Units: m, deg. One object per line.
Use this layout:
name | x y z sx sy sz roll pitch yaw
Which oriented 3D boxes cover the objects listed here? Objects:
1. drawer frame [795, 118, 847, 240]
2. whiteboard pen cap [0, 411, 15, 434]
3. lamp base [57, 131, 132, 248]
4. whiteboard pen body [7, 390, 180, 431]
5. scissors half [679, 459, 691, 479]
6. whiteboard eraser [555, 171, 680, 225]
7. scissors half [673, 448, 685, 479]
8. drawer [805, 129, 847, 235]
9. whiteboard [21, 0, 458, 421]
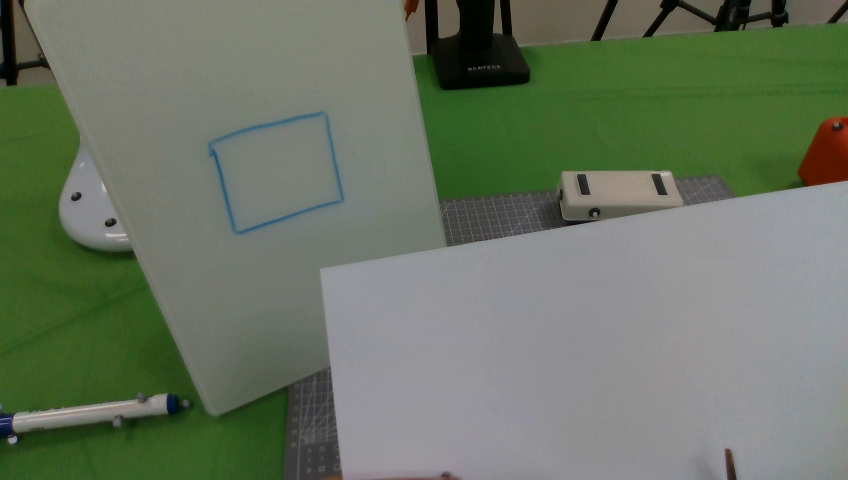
drawer frame | 0.498 -0.027 0.555 0.202 0.083 0.211 -5 44 -2
whiteboard pen cap | -0.316 0.135 0.444 0.033 0.018 0.018 -4 44 -12
lamp base | -0.305 -0.109 0.582 0.178 0.182 0.160 24 50 27
whiteboard pen body | -0.257 0.129 0.452 0.141 0.017 0.017 -5 44 -9
scissors half | 0.144 0.175 0.279 0.013 0.176 0.040 -20 13 10
whiteboard eraser | 0.189 -0.040 0.600 0.113 0.042 0.055 0 43 1
scissors half | 0.139 0.176 0.258 0.013 0.040 0.174 -20 75 15
drawer | 0.499 -0.021 0.551 0.194 0.074 0.209 -4 44 -1
whiteboard | -0.120 -0.057 0.478 0.217 0.308 0.142 -21 29 -18
